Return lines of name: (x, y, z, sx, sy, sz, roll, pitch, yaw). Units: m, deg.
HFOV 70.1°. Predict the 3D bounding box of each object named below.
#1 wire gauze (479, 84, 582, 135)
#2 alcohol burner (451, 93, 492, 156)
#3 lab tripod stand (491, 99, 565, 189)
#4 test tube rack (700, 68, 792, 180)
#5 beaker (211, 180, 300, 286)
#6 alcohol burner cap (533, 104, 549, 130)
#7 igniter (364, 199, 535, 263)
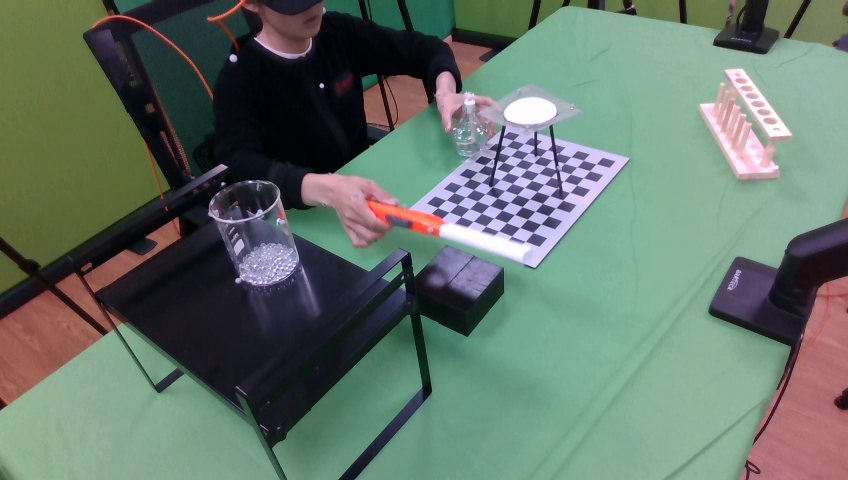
wire gauze: (0.176, -0.216, 1.006, 0.125, 0.011, 0.120, -29, 46, -22)
alcohol burner: (0.088, -0.218, 1.123, 0.078, 0.119, 0.077, -2, 40, 2)
lab tripod stand: (0.184, -0.163, 1.046, 0.148, 0.132, 0.147, -5, 42, 5)
test tube rack: (0.572, -0.215, 1.089, 0.066, 0.085, 0.241, -3, 41, 7)
beaker: (-0.183, -0.007, 0.674, 0.074, 0.101, 0.083, -1, 40, 7)
alcohol burner cap: (0.235, -0.251, 1.217, 0.034, 0.048, 0.033, -5, 41, 5)
igniter: (0.023, -0.017, 0.834, 0.274, 0.025, 0.057, 18, 23, 32)
